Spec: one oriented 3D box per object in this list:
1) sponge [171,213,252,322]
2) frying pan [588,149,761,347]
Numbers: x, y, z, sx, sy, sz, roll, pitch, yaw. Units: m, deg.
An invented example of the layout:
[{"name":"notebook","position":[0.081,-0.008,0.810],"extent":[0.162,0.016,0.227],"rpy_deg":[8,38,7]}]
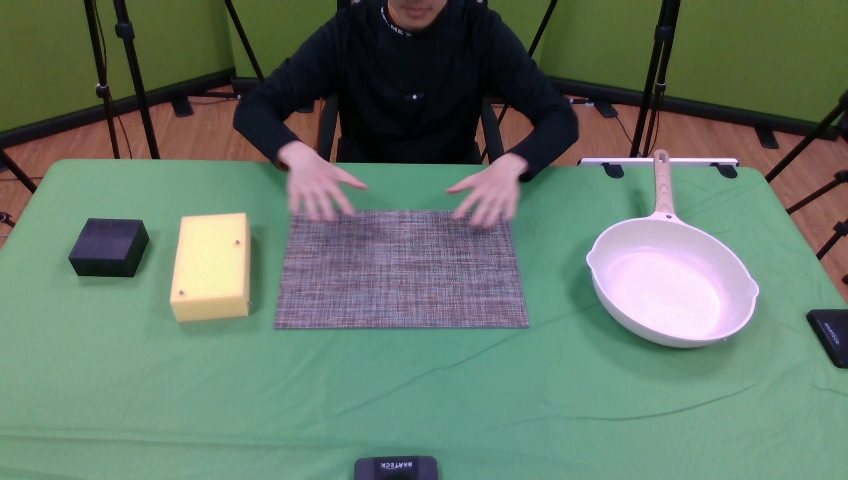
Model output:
[{"name":"sponge","position":[-0.379,0.045,1.099],"extent":[0.118,0.061,0.205],"rpy_deg":[-6,47,-8]},{"name":"frying pan","position":[0.471,-0.003,1.174],"extent":[0.307,0.103,0.485],"rpy_deg":[11,55,6]}]
